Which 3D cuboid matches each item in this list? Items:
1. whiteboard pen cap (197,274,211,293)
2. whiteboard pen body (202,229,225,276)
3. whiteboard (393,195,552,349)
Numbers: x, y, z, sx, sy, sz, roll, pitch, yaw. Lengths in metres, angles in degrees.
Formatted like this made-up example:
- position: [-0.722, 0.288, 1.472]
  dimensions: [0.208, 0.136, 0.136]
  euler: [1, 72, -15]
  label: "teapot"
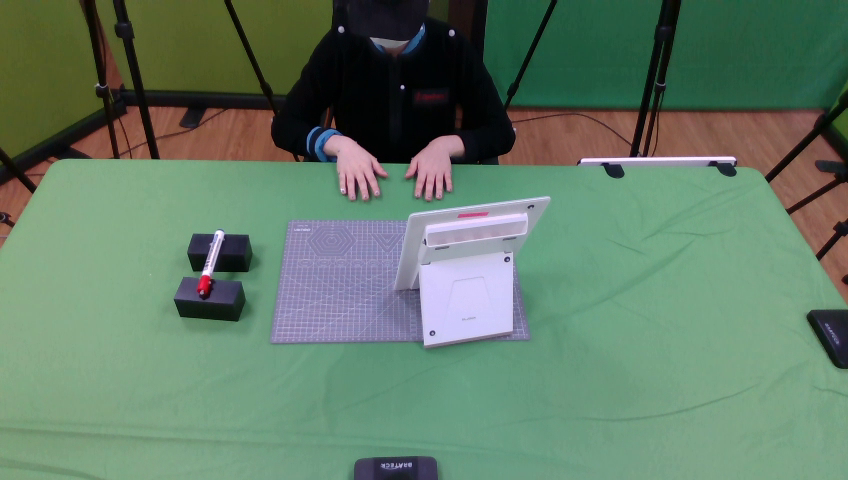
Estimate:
- position: [-0.373, 0.074, 1.031]
  dimensions: [0.017, 0.017, 0.032]
  euler: [2, 44, -2]
  label: "whiteboard pen cap"
- position: [-0.374, 0.032, 1.071]
  dimensions: [0.017, 0.017, 0.139]
  euler: [2, 45, -2]
  label: "whiteboard pen body"
- position: [0.077, 0.071, 0.977]
  dimensions: [0.217, 0.306, 0.143]
  euler: [-7, 66, -11]
  label: "whiteboard"
